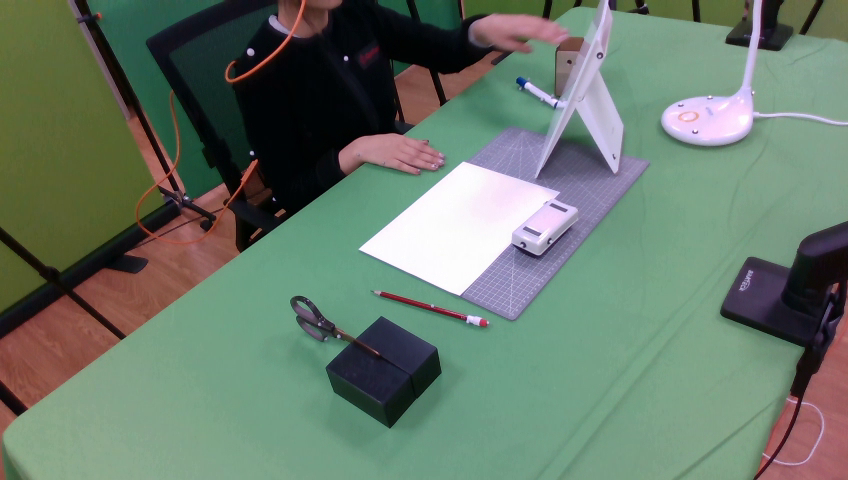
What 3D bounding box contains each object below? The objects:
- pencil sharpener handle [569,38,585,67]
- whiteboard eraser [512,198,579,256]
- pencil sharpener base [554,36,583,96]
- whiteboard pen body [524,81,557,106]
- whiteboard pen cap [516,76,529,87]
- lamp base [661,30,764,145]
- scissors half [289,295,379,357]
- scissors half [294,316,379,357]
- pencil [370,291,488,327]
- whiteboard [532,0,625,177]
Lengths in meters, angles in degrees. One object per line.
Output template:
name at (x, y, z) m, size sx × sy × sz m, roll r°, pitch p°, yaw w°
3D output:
pencil sharpener handle at (0.332, -0.413, 1.317) m, size 0.036 × 0.068 × 0.030 m, roll 19°, pitch 46°, yaw 13°
whiteboard eraser at (0.191, -0.019, 0.949) m, size 0.055 × 0.042 × 0.113 m, roll 26°, pitch 51°, yaw 36°
pencil sharpener base at (0.317, -0.371, 1.290) m, size 0.061 × 0.107 × 0.076 m, roll 10°, pitch 44°, yaw 22°
whiteboard pen body at (0.249, -0.321, 1.313) m, size 0.017 × 0.017 × 0.139 m, roll -24°, pitch 44°, yaw -17°
whiteboard pen cap at (0.221, -0.355, 1.352) m, size 0.018 × 0.018 × 0.033 m, roll -24°, pitch 46°, yaw -17°
lamp base at (0.535, -0.287, 1.095) m, size 0.179 × 0.181 × 0.159 m, roll -10°, pitch 41°, yaw -4°
scissors half at (-0.123, 0.114, 0.803) m, size 0.174 × 0.040 × 0.013 m, roll 26°, pitch 48°, yaw 32°
scissors half at (-0.119, 0.132, 0.813) m, size 0.174 × 0.040 × 0.013 m, roll 9°, pitch 31°, yaw 44°
pencil at (0.003, 0.097, 0.877) m, size 0.193 × 0.012 × 0.012 m, roll 13°, pitch 45°, yaw 26°
whiteboard at (0.320, -0.258, 1.050) m, size 0.144 × 0.306 × 0.217 m, roll 21°, pitch 45°, yaw 5°
